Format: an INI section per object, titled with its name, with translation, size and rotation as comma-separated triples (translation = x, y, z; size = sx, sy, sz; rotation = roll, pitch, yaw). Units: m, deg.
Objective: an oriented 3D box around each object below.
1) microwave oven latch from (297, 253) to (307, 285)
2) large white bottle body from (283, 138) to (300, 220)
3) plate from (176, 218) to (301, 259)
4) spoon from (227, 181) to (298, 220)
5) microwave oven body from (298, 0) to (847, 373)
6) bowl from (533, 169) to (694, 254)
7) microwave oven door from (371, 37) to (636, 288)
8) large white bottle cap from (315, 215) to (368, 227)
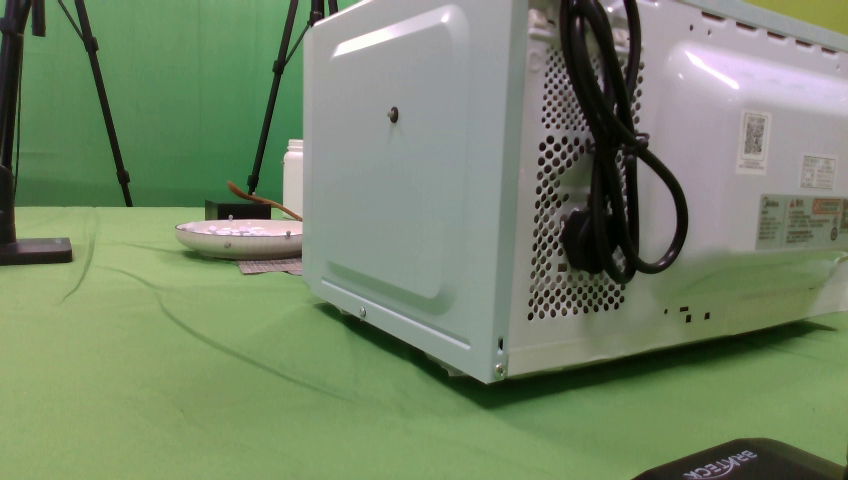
[microwave oven latch]
translation = -0.082, 0.027, 0.582
size = 0.079, 0.029, 0.030
rotation = -1, 7, -33
[large white bottle body]
translation = -0.265, -0.143, 1.424
size = 0.131, 0.184, 0.130
rotation = 2, 7, 0
[plate]
translation = -0.248, -0.003, 0.877
size = 0.209, 0.038, 0.209
rotation = 1, 8, 0
[spoon]
translation = -0.315, -0.074, 1.234
size = 0.195, 0.021, 0.041
rotation = 24, -9, -37
[microwave oven body]
translation = 0.151, -0.055, 0.542
size = 0.444, 0.260, 0.324
rotation = -1, 7, -33
[bowl]
translation = 0.181, -0.030, 0.596
size = 0.151, 0.077, 0.151
rotation = 1, 7, 0
[microwave oven door]
translation = 0.109, -0.080, 0.686
size = 0.358, 0.243, 0.039
rotation = -2, 9, -33
[large white bottle cap]
translation = -0.178, -0.041, 1.308
size = 0.115, 0.018, 0.115
rotation = 2, 6, 0
